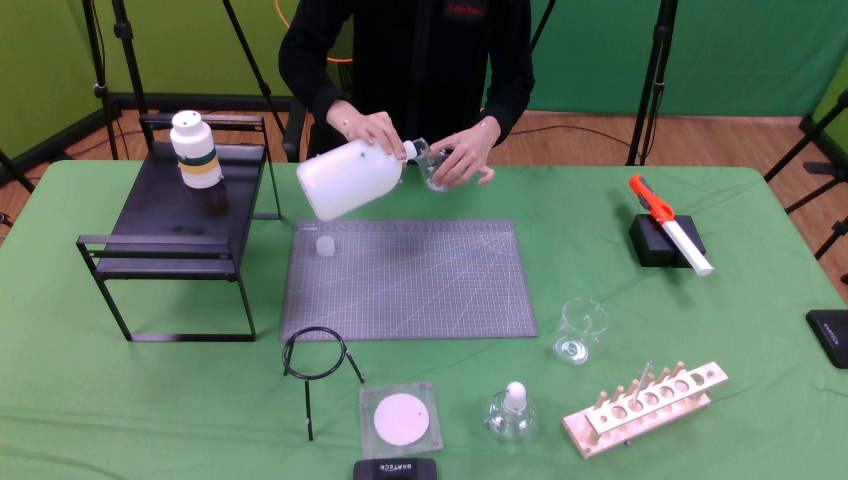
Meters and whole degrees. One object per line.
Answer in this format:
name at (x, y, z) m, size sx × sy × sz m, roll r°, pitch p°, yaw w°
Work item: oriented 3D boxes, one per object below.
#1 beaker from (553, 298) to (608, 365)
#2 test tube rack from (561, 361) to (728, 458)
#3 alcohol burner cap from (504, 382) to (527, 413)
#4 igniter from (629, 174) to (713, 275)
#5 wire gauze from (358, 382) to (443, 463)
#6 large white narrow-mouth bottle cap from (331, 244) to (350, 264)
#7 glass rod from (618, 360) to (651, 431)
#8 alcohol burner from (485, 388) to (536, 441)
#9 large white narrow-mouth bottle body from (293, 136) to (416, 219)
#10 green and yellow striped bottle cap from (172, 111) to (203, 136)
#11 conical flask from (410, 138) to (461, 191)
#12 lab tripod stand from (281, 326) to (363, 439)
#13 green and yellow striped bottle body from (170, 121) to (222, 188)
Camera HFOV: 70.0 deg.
beaker at (0.260, 0.154, 1.015) m, size 0.073 × 0.101 × 0.084 m, roll 37°, pitch 54°, yaw 27°
test tube rack at (0.341, 0.248, 0.940) m, size 0.243 × 0.085 × 0.066 m, roll -15°, pitch 49°, yaw -18°
alcohol burner cap at (0.133, 0.225, 0.877) m, size 0.034 × 0.048 × 0.033 m, roll -4°, pitch 47°, yaw 4°
igniter at (0.481, -0.040, 1.202) m, size 0.057 × 0.025 × 0.274 m, roll -2°, pitch 46°, yaw -21°
wire gauze at (-0.039, 0.277, 0.937) m, size 0.121 × 0.011 × 0.124 m, roll -4°, pitch 47°, yaw -7°
large white narrow-mouth bottle cap at (-0.160, 0.026, 1.161) m, size 0.038 × 0.024 × 0.037 m, roll 4°, pitch 46°, yaw -4°
glass rod at (0.298, 0.226, 0.865) m, size 0.008 × 0.201 × 0.008 m, roll -1°, pitch 48°, yaw 2°
alcohol burner at (0.131, 0.249, 0.904) m, size 0.078 × 0.120 × 0.077 m, roll 1°, pitch 48°, yaw -1°
large white narrow-mouth bottle body at (-0.105, -0.113, 0.988) m, size 0.195 × 0.102 × 0.101 m, roll -23°, pitch 52°, yaw -13°
green and yellow striped bottle cap at (-0.374, -0.185, 0.957) m, size 0.045 × 0.020 × 0.045 m, roll 3°, pitch 45°, yaw -3°
conical flask at (0.012, -0.139, 1.072) m, size 0.075 × 0.122 × 0.075 m, roll -7°, pitch 72°, yaw 23°
lab tripod stand at (-0.166, 0.203, 0.913) m, size 0.148 × 0.132 × 0.147 m, roll 1°, pitch 47°, yaw -1°
green and yellow striped bottle body at (-0.375, -0.149, 0.995) m, size 0.063 × 0.120 × 0.063 m, roll 2°, pitch 46°, yaw -2°
